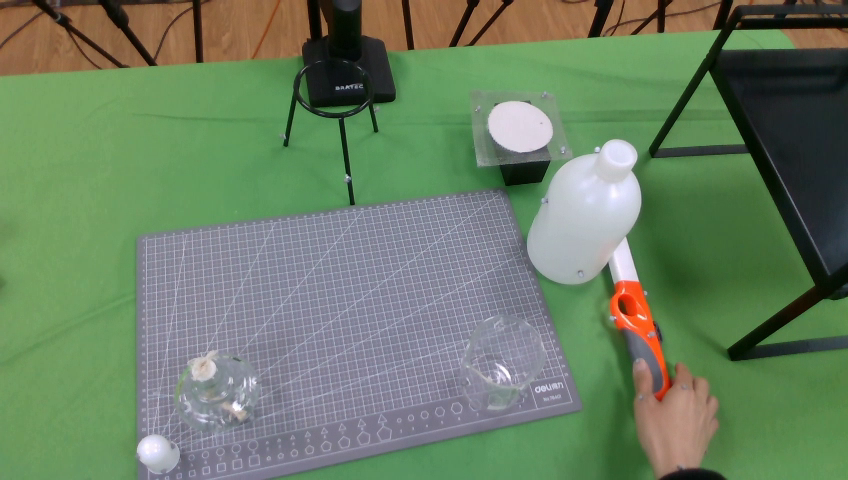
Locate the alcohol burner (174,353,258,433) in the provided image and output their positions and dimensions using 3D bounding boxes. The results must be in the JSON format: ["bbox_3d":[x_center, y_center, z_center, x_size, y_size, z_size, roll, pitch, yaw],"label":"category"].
[{"bbox_3d":[-0.198,0.138,0.569,0.078,0.120,0.077,4,58,-6],"label":"alcohol burner"}]

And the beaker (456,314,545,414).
[{"bbox_3d":[0.070,0.131,0.613,0.084,0.101,0.073,-11,61,-12],"label":"beaker"}]

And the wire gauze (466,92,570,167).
[{"bbox_3d":[0.119,-0.146,0.782,0.122,0.011,0.124,-1,59,-7],"label":"wire gauze"}]

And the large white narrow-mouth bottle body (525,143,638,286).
[{"bbox_3d":[0.178,-0.033,0.670,0.102,0.196,0.101,3,59,-4],"label":"large white narrow-mouth bottle body"}]

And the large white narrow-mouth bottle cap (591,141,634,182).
[{"bbox_3d":[0.185,-0.078,0.598,0.038,0.024,0.037,3,59,-4],"label":"large white narrow-mouth bottle cap"}]

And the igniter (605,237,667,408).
[{"bbox_3d":[0.238,0.062,0.718,0.057,0.025,0.274,6,58,-18],"label":"igniter"}]

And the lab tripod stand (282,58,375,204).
[{"bbox_3d":[-0.107,-0.137,0.734,0.149,0.132,0.147,4,60,-6],"label":"lab tripod stand"}]

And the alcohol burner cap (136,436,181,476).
[{"bbox_3d":[-0.251,0.201,0.567,0.034,0.048,0.033,2,61,-4],"label":"alcohol burner cap"}]
